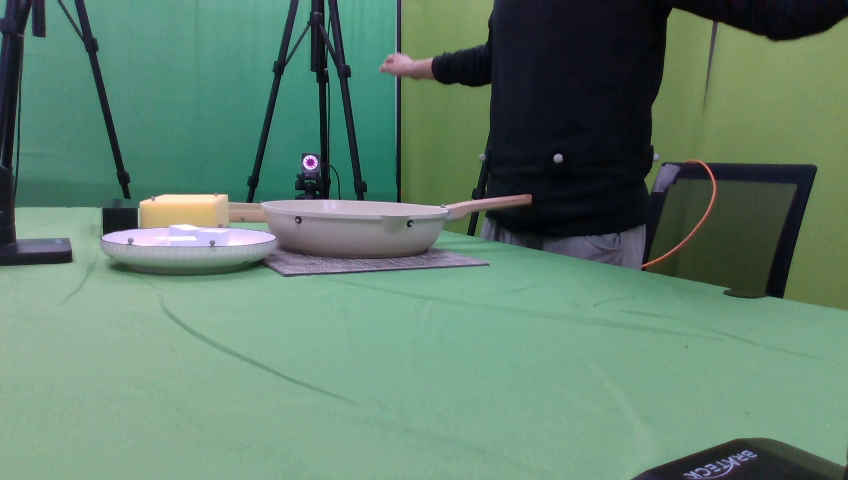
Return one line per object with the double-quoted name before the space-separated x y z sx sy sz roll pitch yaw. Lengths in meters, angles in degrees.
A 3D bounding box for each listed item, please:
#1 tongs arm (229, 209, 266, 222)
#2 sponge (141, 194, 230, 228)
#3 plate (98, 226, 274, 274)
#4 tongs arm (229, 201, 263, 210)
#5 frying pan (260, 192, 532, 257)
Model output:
"tongs arm" -0.280 -0.055 1.355 0.389 0.028 0.028 -1 6 -28
"sponge" -0.425 -0.047 1.097 0.118 0.061 0.206 -2 8 -12
"plate" -0.301 0.012 0.778 0.208 0.039 0.207 3 7 0
"tongs arm" -0.306 -0.070 1.430 0.386 0.026 0.050 2 8 -15
"frying pan" -0.017 -0.043 1.006 0.490 0.102 0.305 -11 13 -26
